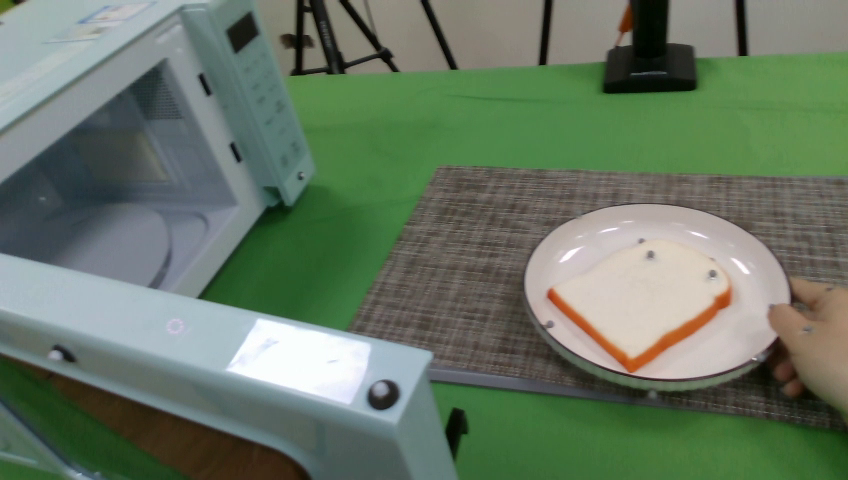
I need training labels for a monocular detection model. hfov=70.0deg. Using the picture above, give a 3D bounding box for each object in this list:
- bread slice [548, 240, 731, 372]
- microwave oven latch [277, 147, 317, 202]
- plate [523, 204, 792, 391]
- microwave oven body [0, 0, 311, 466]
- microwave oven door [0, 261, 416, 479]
[{"bbox_3d":[0.187,0.044,0.515,0.131,0.019,0.103,-26,41,-16],"label":"bread slice"},{"bbox_3d":[-0.158,-0.081,0.742,0.030,0.030,0.078,4,42,19],"label":"microwave oven latch"},{"bbox_3d":[0.189,0.045,0.511,0.209,0.038,0.207,-8,39,7],"label":"plate"},{"bbox_3d":[-0.366,-0.048,0.604,0.325,0.263,0.438,4,42,19],"label":"microwave oven body"},{"bbox_3d":[-0.139,0.113,0.335,0.354,0.246,0.039,8,43,24],"label":"microwave oven door"}]
